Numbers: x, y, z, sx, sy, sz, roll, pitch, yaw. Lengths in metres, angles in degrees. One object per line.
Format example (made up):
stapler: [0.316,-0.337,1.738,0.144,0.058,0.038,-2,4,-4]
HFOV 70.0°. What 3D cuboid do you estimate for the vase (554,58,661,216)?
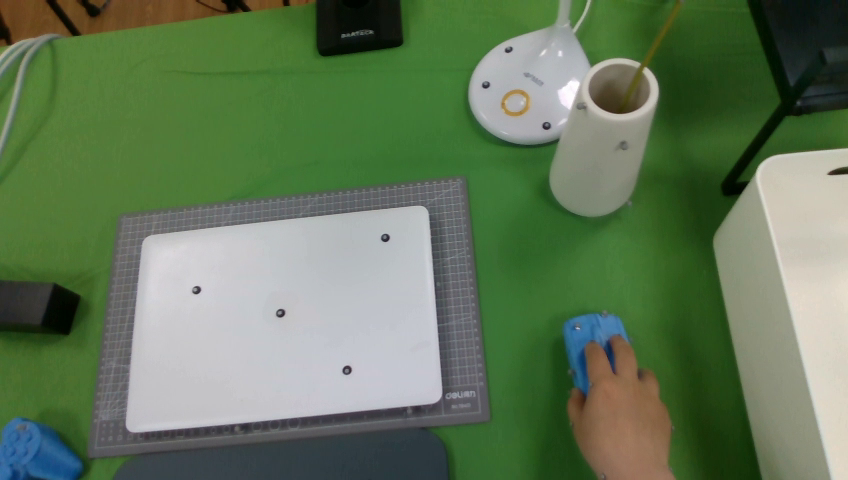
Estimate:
vase: [0.192,-0.103,0.645,0.098,0.201,0.097,-3,67,7]

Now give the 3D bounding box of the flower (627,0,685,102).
flower: [0.199,-0.144,0.571,0.038,0.364,0.043,-12,57,-17]

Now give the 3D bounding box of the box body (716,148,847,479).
box body: [0.444,0.110,0.555,0.254,0.161,0.361,-4,68,5]

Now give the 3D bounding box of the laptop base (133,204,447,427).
laptop base: [-0.156,0.083,0.705,0.354,0.023,0.234,-6,72,3]

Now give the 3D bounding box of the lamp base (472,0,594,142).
lamp base: [0.140,-0.235,0.712,0.160,0.181,0.178,27,71,15]

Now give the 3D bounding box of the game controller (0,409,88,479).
game controller: [-0.456,0.256,0.654,0.155,0.052,0.096,-41,67,-11]

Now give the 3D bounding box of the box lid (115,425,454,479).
box lid: [-0.148,0.334,0.613,0.371,0.015,0.261,-6,69,4]

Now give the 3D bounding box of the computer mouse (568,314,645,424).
computer mouse: [0.189,0.130,0.628,0.063,0.041,0.116,-5,59,4]

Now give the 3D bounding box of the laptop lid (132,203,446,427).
laptop lid: [-0.157,0.081,0.694,0.356,0.013,0.240,-4,71,4]
